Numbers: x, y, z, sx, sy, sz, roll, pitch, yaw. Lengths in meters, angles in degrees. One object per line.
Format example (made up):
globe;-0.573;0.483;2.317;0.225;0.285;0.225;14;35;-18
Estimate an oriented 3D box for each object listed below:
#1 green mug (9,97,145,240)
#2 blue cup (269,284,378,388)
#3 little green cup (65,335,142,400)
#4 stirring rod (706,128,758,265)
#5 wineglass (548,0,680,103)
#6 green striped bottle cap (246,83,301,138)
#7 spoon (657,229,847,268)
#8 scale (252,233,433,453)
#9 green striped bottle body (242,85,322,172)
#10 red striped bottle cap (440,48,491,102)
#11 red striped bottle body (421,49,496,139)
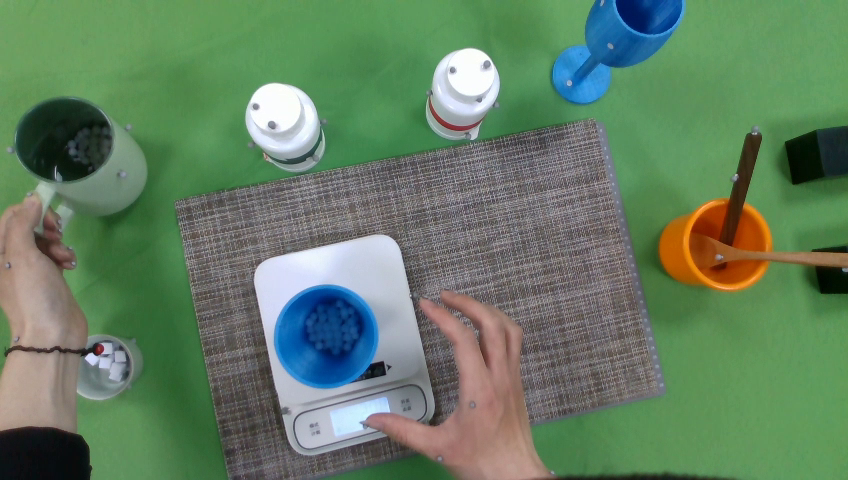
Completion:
green mug;-0.320;-0.058;0.551;0.093;0.105;0.125;24;76;-8
blue cup;-0.084;0.079;0.540;0.093;0.100;0.092;0;88;-6
little green cup;-0.304;0.120;0.582;0.061;0.038;0.061;0;86;-6
stirring rod;0.299;-0.035;0.593;0.014;0.178;0.005;-4;46;8
wineglass;0.173;-0.189;0.578;0.074;0.172;0.073;0;85;-4
green striped bottle cap;-0.128;-0.111;0.517;0.044;0.020;0.044;0;86;-3
spoon;0.328;0.012;0.592;0.022;0.192;0.041;-1;94;-48
scale;-0.080;0.102;0.604;0.149;0.031;0.200;-13;88;-6
green striped bottle body;-0.133;-0.105;0.572;0.063;0.119;0.063;0;86;-5
red striped bottle cap;0.037;-0.147;0.537;0.044;0.018;0.044;1;82;-4
red striped bottle body;0.033;-0.143;0.590;0.063;0.119;0.063;0;86;-5
